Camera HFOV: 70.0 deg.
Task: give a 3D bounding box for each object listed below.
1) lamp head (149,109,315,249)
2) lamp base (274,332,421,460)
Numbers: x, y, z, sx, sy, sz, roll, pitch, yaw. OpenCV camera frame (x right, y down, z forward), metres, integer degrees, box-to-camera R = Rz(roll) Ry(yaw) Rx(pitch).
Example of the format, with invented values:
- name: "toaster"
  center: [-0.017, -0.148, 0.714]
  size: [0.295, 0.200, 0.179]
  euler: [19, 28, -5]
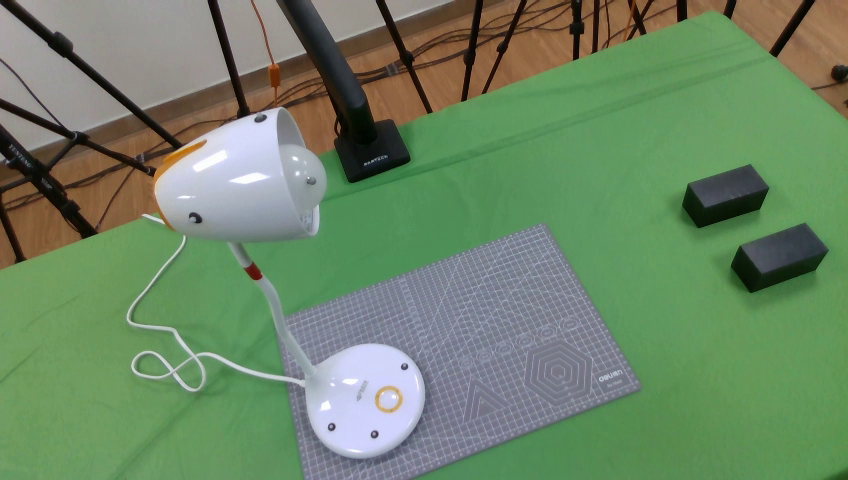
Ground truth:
- name: "lamp head"
  center: [-0.163, -0.041, 0.516]
  size: [0.123, 0.113, 0.111]
  euler: [-16, 53, 6]
- name: "lamp base"
  center: [-0.107, 0.171, 0.761]
  size: [0.179, 0.182, 0.159]
  euler: [1, 55, 15]
